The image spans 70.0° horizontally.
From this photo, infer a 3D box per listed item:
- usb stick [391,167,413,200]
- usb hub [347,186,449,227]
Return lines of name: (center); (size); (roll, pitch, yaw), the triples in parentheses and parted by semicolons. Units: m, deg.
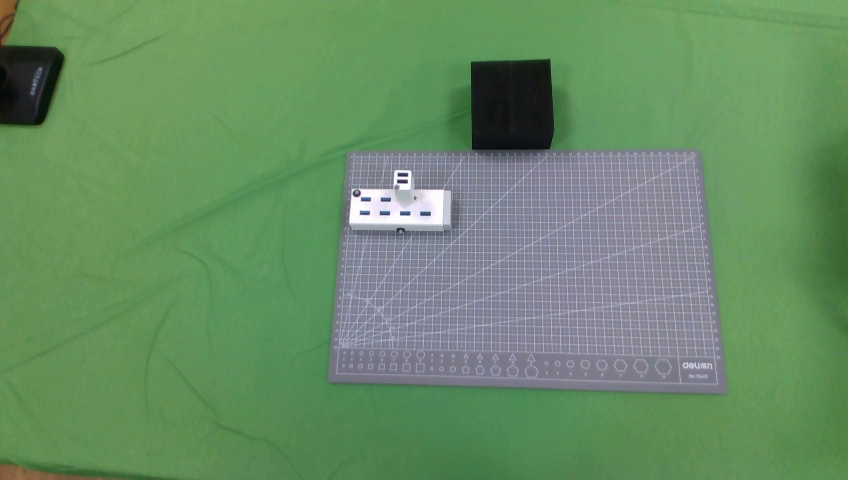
usb stick: (-0.026, -0.065, 0.729); (0.021, 0.059, 0.027); (2, 71, 5)
usb hub: (-0.031, -0.042, 0.752); (0.125, 0.025, 0.049); (1, 72, 4)
